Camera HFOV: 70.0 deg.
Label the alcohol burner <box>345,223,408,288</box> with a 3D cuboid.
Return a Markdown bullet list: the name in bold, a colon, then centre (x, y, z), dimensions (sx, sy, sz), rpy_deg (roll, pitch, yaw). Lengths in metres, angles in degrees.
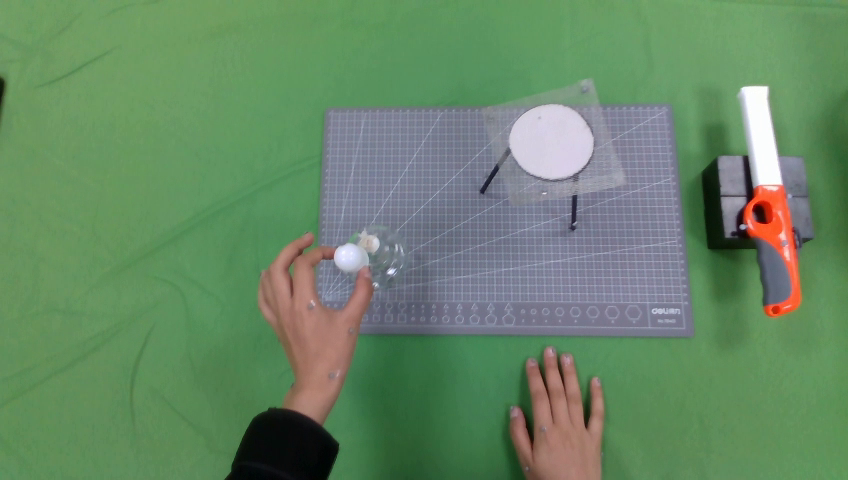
- **alcohol burner**: centre (-0.057, 0.014, 0.690), dimensions (0.078, 0.119, 0.077), rpy_deg (0, 77, 1)

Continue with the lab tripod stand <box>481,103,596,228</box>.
- **lab tripod stand**: centre (0.139, -0.091, 0.698), dimensions (0.148, 0.132, 0.147), rpy_deg (-1, 74, 4)

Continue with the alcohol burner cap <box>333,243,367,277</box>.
- **alcohol burner cap**: centre (-0.076, 0.018, 0.605), dimensions (0.034, 0.048, 0.033), rpy_deg (0, 82, 3)

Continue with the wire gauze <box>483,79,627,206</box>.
- **wire gauze**: centre (0.135, -0.102, 0.632), dimensions (0.125, 0.011, 0.120), rpy_deg (-13, 75, -1)

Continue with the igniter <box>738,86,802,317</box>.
- **igniter**: centre (0.389, -0.049, 0.687), dimensions (0.057, 0.025, 0.275), rpy_deg (1, 73, 5)
